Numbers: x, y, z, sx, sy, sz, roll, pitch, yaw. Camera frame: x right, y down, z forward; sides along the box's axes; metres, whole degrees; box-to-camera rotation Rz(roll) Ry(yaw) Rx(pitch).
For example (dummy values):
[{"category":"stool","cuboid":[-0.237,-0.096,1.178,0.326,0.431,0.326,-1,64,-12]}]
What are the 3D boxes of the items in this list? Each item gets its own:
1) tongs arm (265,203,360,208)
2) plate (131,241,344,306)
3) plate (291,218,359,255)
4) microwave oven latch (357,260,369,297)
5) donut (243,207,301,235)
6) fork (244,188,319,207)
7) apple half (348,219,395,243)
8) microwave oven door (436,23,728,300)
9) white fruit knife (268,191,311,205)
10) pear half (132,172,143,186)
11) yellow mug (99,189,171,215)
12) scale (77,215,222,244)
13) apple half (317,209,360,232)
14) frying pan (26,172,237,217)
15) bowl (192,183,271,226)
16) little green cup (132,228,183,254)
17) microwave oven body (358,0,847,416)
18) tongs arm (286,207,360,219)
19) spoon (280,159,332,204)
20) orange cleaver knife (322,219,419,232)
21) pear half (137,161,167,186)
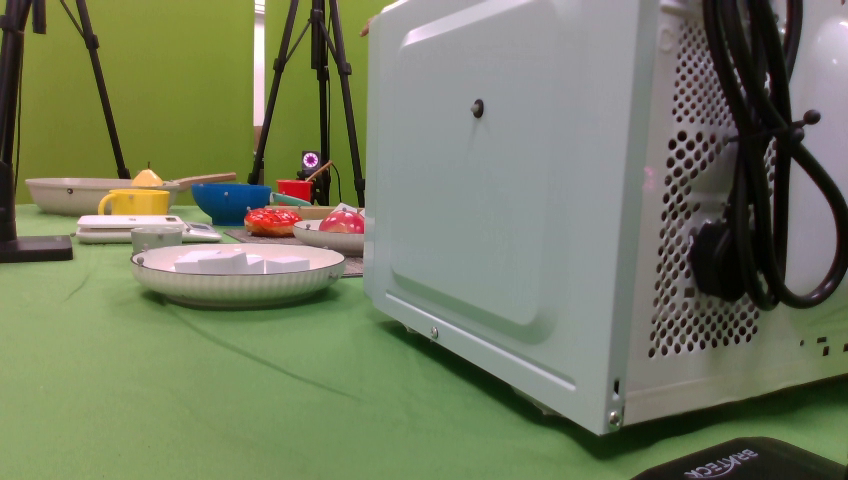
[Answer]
[{"category":"tongs arm","cuboid":[-0.209,-0.070,1.438,0.389,0.027,0.028,1,0,-17]},{"category":"plate","cuboid":[-0.187,0.033,0.625,0.208,0.039,0.207,2,8,0]},{"category":"plate","cuboid":[-0.098,-0.007,0.928,0.209,0.038,0.209,2,8,0]},{"category":"microwave oven latch","cuboid":[-0.019,0.033,0.530,0.079,0.029,0.030,0,7,-26]},{"category":"donut","cuboid":[-0.261,-0.032,1.043,0.099,0.048,0.099,4,9,0]},{"category":"fork","cuboid":[-0.356,-0.105,1.526,0.208,0.018,0.028,16,-6,-41]},{"category":"apple half","cuboid":[-0.083,-0.018,0.967,0.081,0.033,0.081,5,10,-1]},{"category":"microwave oven door","cuboid":[0.180,-0.072,0.621,0.358,0.243,0.039,-2,9,-29]},{"category":"white fruit knife","cuboid":[-0.364,-0.105,1.463,0.208,0.027,0.016,15,-2,-34]},{"category":"pear half","cuboid":[-0.638,-0.113,1.361,0.031,0.088,0.070,5,10,4]},{"category":"yellow mug","cuboid":[-0.518,-0.055,1.080,0.099,0.064,0.131,6,9,26]},{"category":"scale","cuboid":[-0.434,-0.019,0.963,0.202,0.031,0.148,-1,9,-27]},{"category":"apple half","cuboid":[-0.121,-0.020,0.900,0.080,0.053,0.075,4,11,14]},{"category":"frying pan","cuboid":[-0.624,-0.118,1.387,0.305,0.102,0.490,8,17,32]},{"category":"bowl","cuboid":[-0.382,-0.071,1.202,0.151,0.077,0.151,3,7,0]},{"category":"little green cup","cuboid":[-0.342,0.006,0.779,0.061,0.038,0.061,2,8,0]},{"category":"microwave oven body","cuboid":[0.211,-0.047,0.475,0.444,0.260,0.324,-1,7,-28]},{"category":"tongs arm","cuboid":[-0.173,-0.061,1.362,0.387,0.026,0.050,-1,5,-31]},{"category":"spoon","cuboid":[-0.316,-0.159,1.640,0.194,0.022,0.041,-50,32,-20]},{"category":"orange cleaver knife","cuboid":[-0.097,-0.027,1.153,0.077,0.012,0.212,1,7,41]},{"category":"pear half","cuboid":[-0.602,-0.120,1.354,0.056,0.110,0.076,4,11,6]}]
